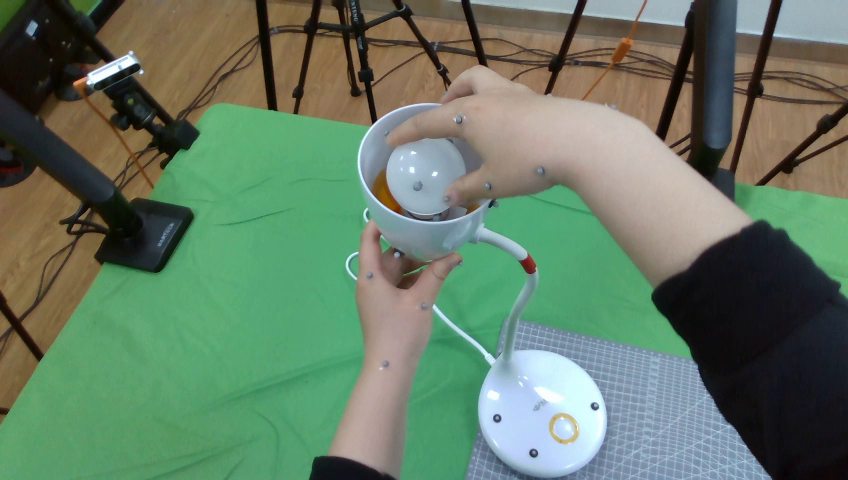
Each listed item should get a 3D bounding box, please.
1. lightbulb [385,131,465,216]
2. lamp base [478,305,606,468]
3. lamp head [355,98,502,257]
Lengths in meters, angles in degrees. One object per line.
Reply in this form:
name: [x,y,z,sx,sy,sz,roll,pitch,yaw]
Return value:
lightbulb: [0.002,-0.042,0.477,0.059,0.108,0.059,-1,66,3]
lamp base: [0.133,0.157,0.708,0.177,0.182,0.160,35,65,27]
lamp head: [0.006,-0.037,0.501,0.112,0.124,0.111,-1,61,3]
